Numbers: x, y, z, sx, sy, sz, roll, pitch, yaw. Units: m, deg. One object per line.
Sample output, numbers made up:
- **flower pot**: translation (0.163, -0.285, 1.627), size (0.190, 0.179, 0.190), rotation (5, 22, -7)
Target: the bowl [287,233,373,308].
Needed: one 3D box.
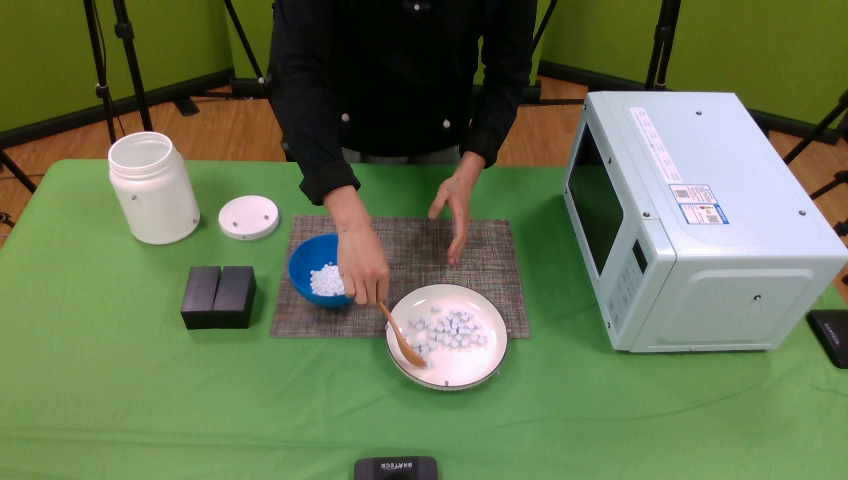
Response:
- **bowl**: translation (-0.165, 0.068, 1.078), size (0.151, 0.077, 0.150), rotation (3, 45, -2)

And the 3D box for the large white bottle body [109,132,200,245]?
- **large white bottle body**: translation (-0.506, -0.097, 1.141), size (0.131, 0.185, 0.130), rotation (2, 46, -2)

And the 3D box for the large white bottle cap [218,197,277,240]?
- **large white bottle cap**: translation (-0.355, -0.045, 1.220), size (0.115, 0.018, 0.114), rotation (2, 45, -2)

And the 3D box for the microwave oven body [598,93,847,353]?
- **microwave oven body**: translation (0.475, -0.041, 1.109), size (0.326, 0.261, 0.438), rotation (-1, 45, -4)

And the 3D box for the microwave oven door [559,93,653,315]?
- **microwave oven door**: translation (0.327, -0.074, 1.123), size (0.039, 0.245, 0.353), rotation (-1, 46, -5)

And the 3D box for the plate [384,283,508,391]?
- **plate**: translation (0.036, 0.166, 1.029), size (0.209, 0.038, 0.208), rotation (2, 49, -2)

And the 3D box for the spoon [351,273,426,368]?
- **spoon**: translation (-0.059, 0.131, 0.984), size (0.021, 0.041, 0.193), rotation (-32, 86, -31)

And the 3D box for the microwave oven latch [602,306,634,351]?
- **microwave oven latch**: translation (0.332, 0.153, 1.044), size (0.030, 0.029, 0.078), rotation (0, 45, -4)
